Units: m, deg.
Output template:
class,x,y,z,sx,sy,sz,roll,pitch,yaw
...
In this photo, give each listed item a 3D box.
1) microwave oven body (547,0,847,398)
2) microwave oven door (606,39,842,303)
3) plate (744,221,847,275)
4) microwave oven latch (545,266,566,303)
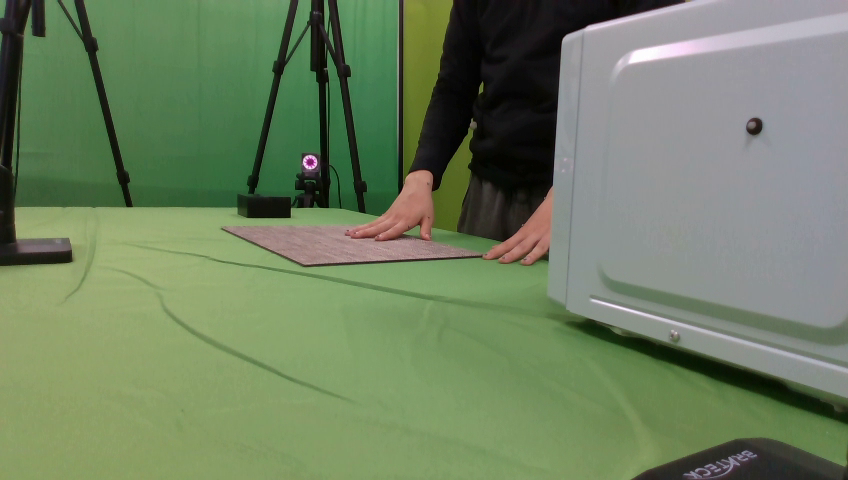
class,x,y,z,sx,sy,sz,roll,pitch,yaw
microwave oven body,0.378,-0.045,0.509,0.444,0.260,0.324,-2,8,-31
microwave oven door,0.341,-0.070,0.654,0.358,0.243,0.039,-3,9,-31
plate,0.407,0.008,0.553,0.209,0.038,0.209,2,5,0
microwave oven latch,0.147,0.038,0.555,0.079,0.029,0.030,-2,7,-29
